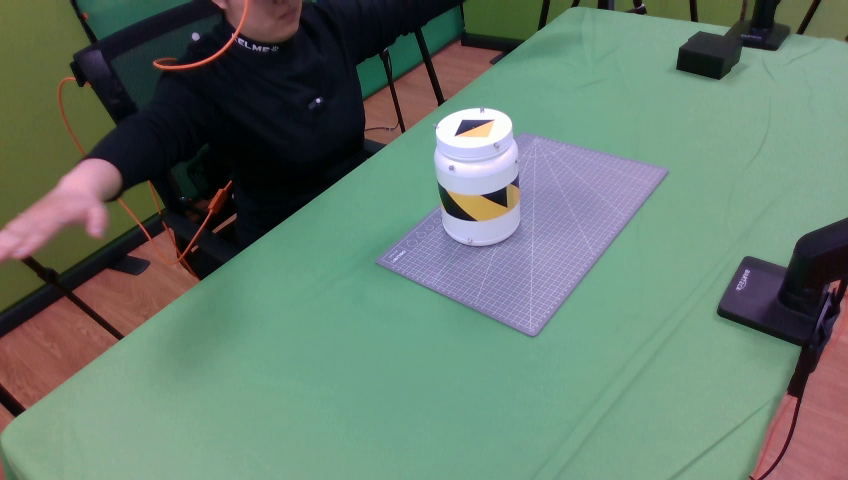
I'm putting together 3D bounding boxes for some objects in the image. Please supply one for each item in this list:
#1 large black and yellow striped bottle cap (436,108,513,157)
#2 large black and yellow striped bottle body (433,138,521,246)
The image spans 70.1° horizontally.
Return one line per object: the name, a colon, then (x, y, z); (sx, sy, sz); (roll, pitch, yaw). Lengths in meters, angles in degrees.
large black and yellow striped bottle cap: (0.075, -0.162, 0.898); (0.115, 0.019, 0.114); (-5, 41, 5)
large black and yellow striped bottle body: (0.085, -0.097, 0.951); (0.131, 0.185, 0.130); (-5, 40, 5)
